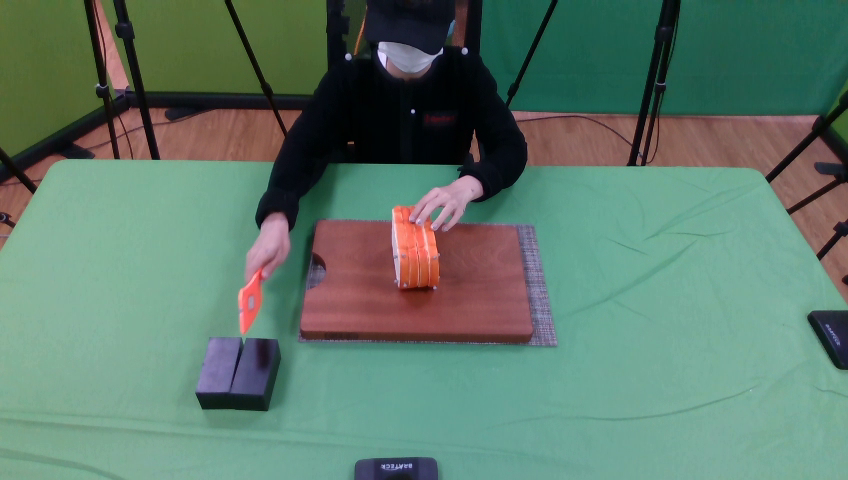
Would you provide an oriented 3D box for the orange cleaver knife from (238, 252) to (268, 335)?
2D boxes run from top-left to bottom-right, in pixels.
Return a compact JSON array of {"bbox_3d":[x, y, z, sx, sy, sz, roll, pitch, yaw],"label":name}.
[{"bbox_3d":[-0.281,0.083,1.004,0.012,0.077,0.210,-2,21,-2],"label":"orange cleaver knife"}]

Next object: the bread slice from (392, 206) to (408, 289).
[{"bbox_3d":[-0.044,0.019,1.078,0.019,0.105,0.130,-4,53,-6],"label":"bread slice"}]

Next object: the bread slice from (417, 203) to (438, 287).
[{"bbox_3d":[0.005,0.018,1.087,0.018,0.107,0.133,-7,55,-6],"label":"bread slice"}]
